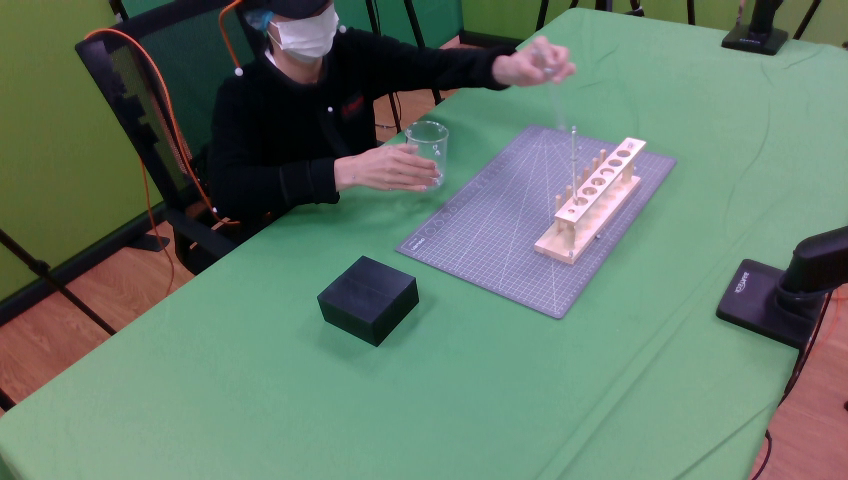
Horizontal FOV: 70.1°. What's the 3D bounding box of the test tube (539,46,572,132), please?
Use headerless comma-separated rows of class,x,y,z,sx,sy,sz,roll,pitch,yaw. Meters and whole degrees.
test tube,0.203,-0.228,0.926,0.017,0.151,0.017,-17,40,15

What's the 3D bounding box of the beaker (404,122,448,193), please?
beaker,0.004,-0.139,1.027,0.073,0.100,0.084,29,44,29

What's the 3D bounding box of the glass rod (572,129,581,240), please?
glass rod,0.220,-0.074,0.871,0.008,0.201,0.008,-8,42,8

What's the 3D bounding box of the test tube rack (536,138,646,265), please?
test tube rack,0.268,-0.071,0.964,0.066,0.085,0.243,23,49,32
